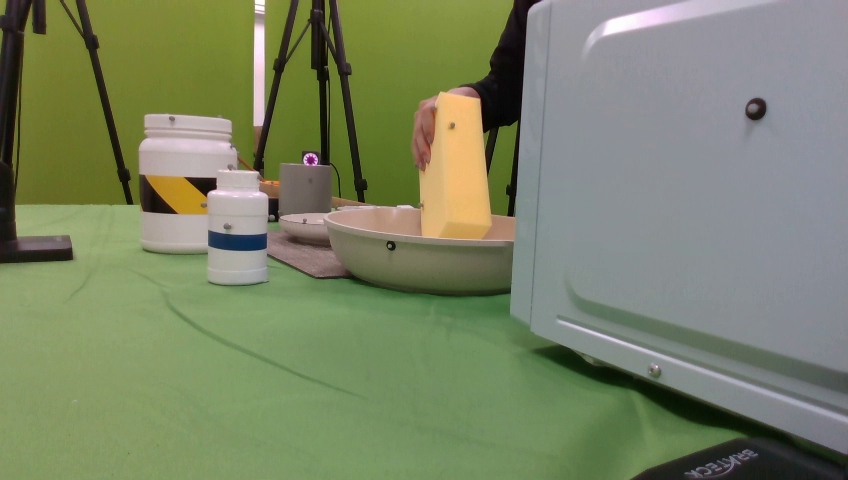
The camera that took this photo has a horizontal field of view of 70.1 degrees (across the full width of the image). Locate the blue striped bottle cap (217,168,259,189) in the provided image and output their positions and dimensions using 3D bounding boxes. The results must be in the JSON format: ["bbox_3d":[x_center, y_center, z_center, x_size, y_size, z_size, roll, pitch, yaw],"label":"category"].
[{"bbox_3d":[-0.202,-0.067,0.657,0.044,0.020,0.044,0,10,0],"label":"blue striped bottle cap"}]

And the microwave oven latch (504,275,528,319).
[{"bbox_3d":[0.100,0.042,0.471,0.079,0.029,0.030,-1,7,-28],"label":"microwave oven latch"}]

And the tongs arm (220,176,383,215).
[{"bbox_3d":[-0.285,-0.103,1.445,0.389,0.027,0.028,9,-4,-23],"label":"tongs arm"}]

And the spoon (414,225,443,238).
[{"bbox_3d":[0.016,-0.020,1.113,0.041,0.021,0.194,-14,3,12],"label":"spoon"}]

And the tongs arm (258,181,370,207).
[{"bbox_3d":[-0.241,-0.095,1.373,0.387,0.026,0.050,9,-1,-37],"label":"tongs arm"}]

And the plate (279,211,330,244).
[{"bbox_3d":[-0.139,-0.022,1.021,0.209,0.038,0.209,2,8,0],"label":"plate"}]

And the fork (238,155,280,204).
[{"bbox_3d":[-0.396,-0.143,1.487,0.028,0.018,0.208,20,-26,45],"label":"fork"}]

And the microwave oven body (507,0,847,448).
[{"bbox_3d":[0.331,-0.042,0.425,0.444,0.260,0.324,-2,8,-31],"label":"microwave oven body"}]

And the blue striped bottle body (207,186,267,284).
[{"bbox_3d":[-0.204,-0.016,0.663,0.063,0.120,0.063,2,7,0],"label":"blue striped bottle body"}]

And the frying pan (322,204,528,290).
[{"bbox_3d":[0.109,-0.018,0.800,0.490,0.102,0.305,-12,16,-30],"label":"frying pan"}]

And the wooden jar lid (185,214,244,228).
[{"bbox_3d":[-0.404,-0.037,1.169,0.108,0.020,0.108,3,7,0],"label":"wooden jar lid"}]

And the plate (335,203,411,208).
[{"bbox_3d":[-0.089,-0.053,1.309,0.208,0.039,0.207,2,8,0],"label":"plate"}]

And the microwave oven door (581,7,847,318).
[{"bbox_3d":[0.295,-0.067,0.569,0.358,0.243,0.039,-3,8,-31],"label":"microwave oven door"}]

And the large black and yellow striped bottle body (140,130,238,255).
[{"bbox_3d":[-0.336,-0.078,0.871,0.131,0.184,0.130,2,8,0],"label":"large black and yellow striped bottle body"}]

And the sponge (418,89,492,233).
[{"bbox_3d":[0.038,-0.089,0.832,0.061,0.206,0.118,6,-30,-14],"label":"sponge"}]

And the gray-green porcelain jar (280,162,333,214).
[{"bbox_3d":[-0.238,-0.092,1.221,0.106,0.126,0.106,2,7,0],"label":"gray-green porcelain jar"}]

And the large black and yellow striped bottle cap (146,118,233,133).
[{"bbox_3d":[-0.333,-0.163,0.861,0.115,0.019,0.115,1,9,0],"label":"large black and yellow striped bottle cap"}]
